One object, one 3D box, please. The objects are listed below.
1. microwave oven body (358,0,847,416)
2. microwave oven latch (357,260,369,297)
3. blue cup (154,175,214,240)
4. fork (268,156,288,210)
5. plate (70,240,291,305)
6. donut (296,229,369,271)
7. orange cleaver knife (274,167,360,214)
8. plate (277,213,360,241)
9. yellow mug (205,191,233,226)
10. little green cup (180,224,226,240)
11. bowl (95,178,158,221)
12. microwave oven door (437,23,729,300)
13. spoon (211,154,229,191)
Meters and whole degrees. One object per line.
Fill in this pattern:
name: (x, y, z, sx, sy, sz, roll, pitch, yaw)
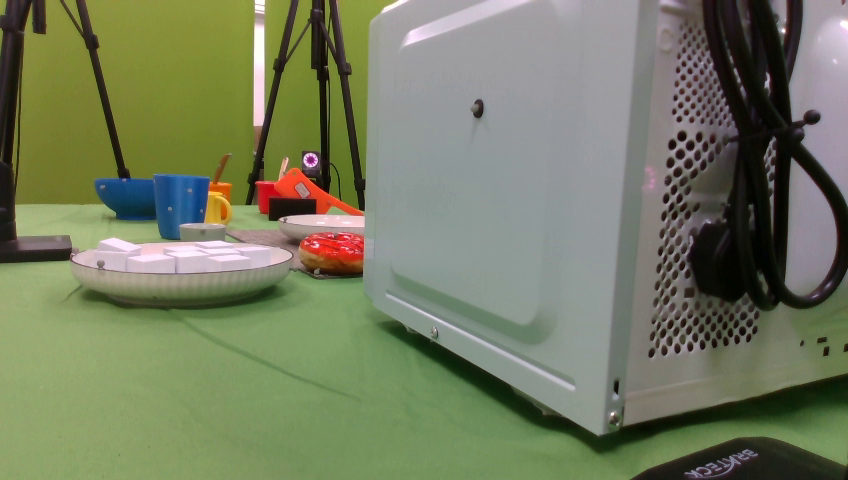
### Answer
microwave oven body: (0.211, -0.047, 0.474, 0.444, 0.260, 0.324, -1, 7, -28)
microwave oven latch: (-0.019, 0.033, 0.530, 0.079, 0.029, 0.030, -1, 7, -26)
blue cup: (-0.390, -0.053, 0.978, 0.093, 0.100, 0.092, 3, 6, 0)
fork: (-0.360, -0.144, 1.507, 0.028, 0.018, 0.207, 1, 49, 0)
plate: (-0.242, 0.031, 0.618, 0.208, 0.039, 0.207, 2, 8, 0)
donut: (-0.106, 0.014, 0.739, 0.099, 0.048, 0.099, 4, 8, 0)
orange cleaver knife: (-0.238, -0.091, 1.381, 0.212, 0.077, 0.012, 31, 0, -19)
plate: (-0.135, -0.017, 0.992, 0.209, 0.038, 0.209, 2, 8, 0)
yellow mug: (-0.415, -0.057, 1.132, 0.130, 0.064, 0.100, 6, 8, 16)
little green cup: (-0.308, -0.001, 0.846, 0.061, 0.038, 0.061, 2, 8, 0)
bowl: (-0.576, -0.081, 1.217, 0.151, 0.077, 0.151, 3, 8, 0)
microwave oven door: (0.181, -0.072, 0.621, 0.358, 0.243, 0.039, -2, 9, -29)
spoon: (-0.431, -0.115, 1.253, 0.042, 0.193, 0.021, -3, 54, -33)
